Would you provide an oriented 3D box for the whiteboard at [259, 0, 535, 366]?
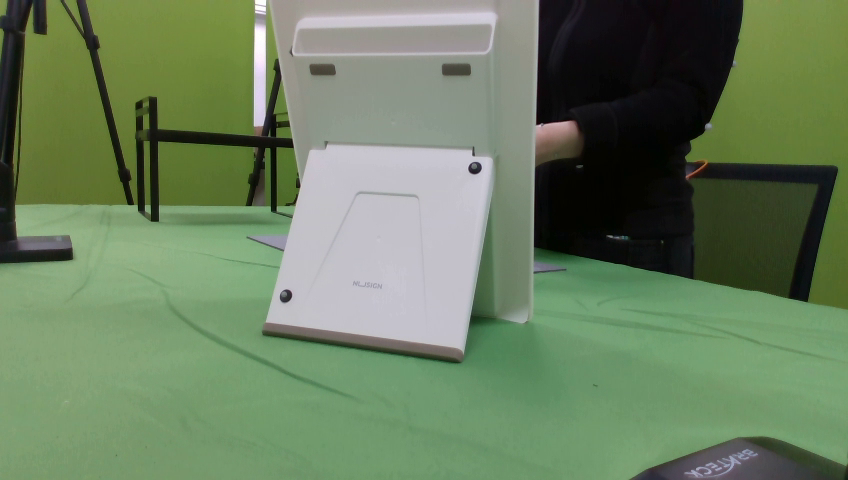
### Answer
[{"bbox_3d":[-0.037,-0.040,0.457,0.216,0.305,0.144,5,28,19],"label":"whiteboard"}]

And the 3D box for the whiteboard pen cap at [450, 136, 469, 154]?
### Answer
[{"bbox_3d":[0.049,-0.134,0.851,0.018,0.018,0.033,-2,28,-31],"label":"whiteboard pen cap"}]

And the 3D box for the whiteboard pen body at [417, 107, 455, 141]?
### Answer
[{"bbox_3d":[0.019,-0.175,0.916,0.017,0.017,0.140,-1,29,-23],"label":"whiteboard pen body"}]
